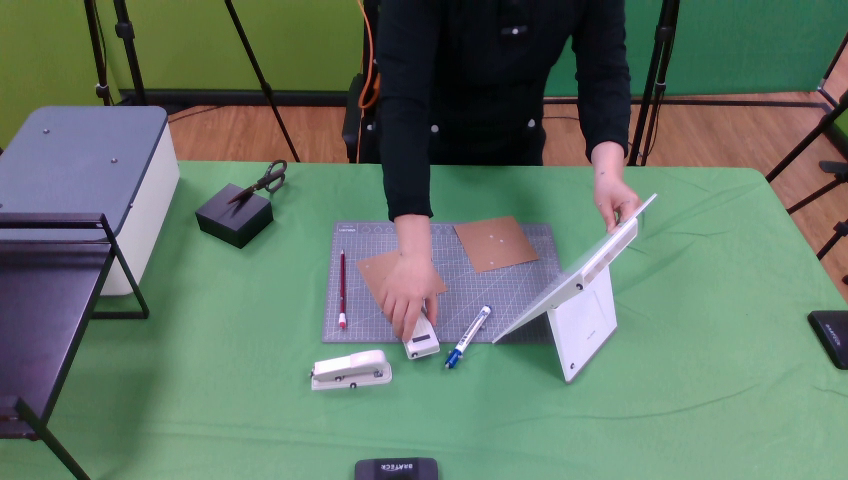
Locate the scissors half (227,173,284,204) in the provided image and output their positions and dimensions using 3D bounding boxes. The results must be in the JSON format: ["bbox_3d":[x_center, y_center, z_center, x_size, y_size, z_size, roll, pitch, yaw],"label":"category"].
[{"bbox_3d":[-0.339,-0.101,1.229,0.013,0.040,0.175,25,28,14],"label":"scissors half"}]

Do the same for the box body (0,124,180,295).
[{"bbox_3d":[-0.628,-0.075,1.122,0.254,0.161,0.361,1,46,-4],"label":"box body"}]

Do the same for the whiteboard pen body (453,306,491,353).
[{"bbox_3d":[0.079,0.162,1.046,0.017,0.017,0.140,26,49,20],"label":"whiteboard pen body"}]

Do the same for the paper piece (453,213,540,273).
[{"bbox_3d":[0.143,0.003,1.212,0.135,0.004,0.135,-11,49,-15],"label":"paper piece"}]

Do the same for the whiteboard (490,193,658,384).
[{"bbox_3d":[0.277,0.101,0.969,0.217,0.306,0.143,-36,79,-33],"label":"whiteboard"}]

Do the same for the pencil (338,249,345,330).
[{"bbox_3d":[-0.153,0.085,1.107,0.012,0.012,0.192,-3,45,-7],"label":"pencil"}]

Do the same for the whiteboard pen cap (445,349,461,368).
[{"bbox_3d":[0.048,0.197,1.011,0.018,0.018,0.033,23,50,17],"label":"whiteboard pen cap"}]

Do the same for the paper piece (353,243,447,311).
[{"bbox_3d":[-0.046,0.066,1.137,0.136,0.009,0.137,-14,47,-22],"label":"paper piece"}]

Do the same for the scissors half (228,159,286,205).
[{"bbox_3d":[-0.334,-0.116,1.217,0.013,0.040,0.175,29,46,11],"label":"scissors half"}]

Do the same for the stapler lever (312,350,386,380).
[{"bbox_3d":[-0.120,0.199,0.963,0.118,0.040,0.026,-4,44,-8],"label":"stapler lever"}]

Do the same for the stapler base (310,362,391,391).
[{"bbox_3d":[-0.119,0.215,0.981,0.131,0.024,0.041,-5,44,-7],"label":"stapler base"}]

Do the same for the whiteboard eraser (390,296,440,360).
[{"bbox_3d":[-0.017,0.150,1.035,0.056,0.042,0.112,-11,48,-16],"label":"whiteboard eraser"}]

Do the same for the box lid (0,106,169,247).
[{"bbox_3d":[-0.624,-0.125,1.067,0.263,0.015,0.369,0,46,-3],"label":"box lid"}]
